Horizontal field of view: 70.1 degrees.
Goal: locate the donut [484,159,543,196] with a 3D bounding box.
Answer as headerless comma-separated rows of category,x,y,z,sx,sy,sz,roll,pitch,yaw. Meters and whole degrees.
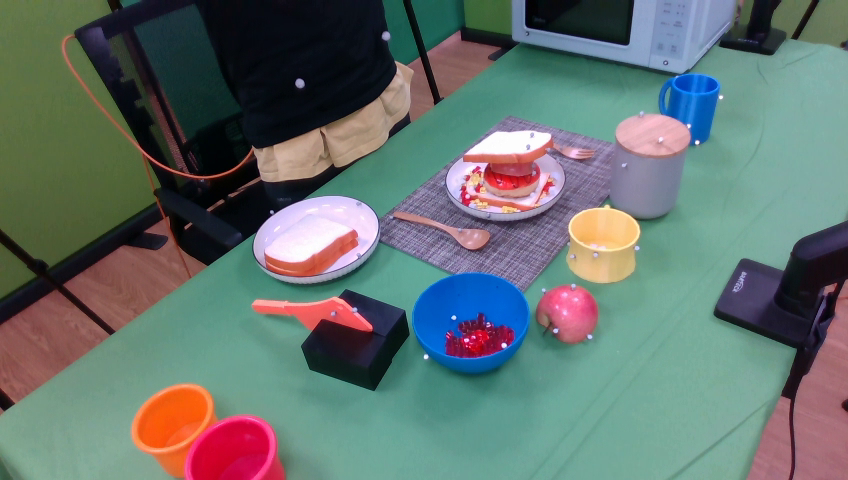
donut,0.150,-0.112,1.018,0.099,0.048,0.098,-5,40,4

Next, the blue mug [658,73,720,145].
blue mug,0.483,-0.250,1.127,0.082,0.106,0.115,-25,44,-19

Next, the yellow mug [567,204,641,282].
yellow mug,0.268,-0.005,0.905,0.099,0.064,0.130,7,42,15

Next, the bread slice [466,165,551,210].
bread slice,0.141,-0.093,1.041,0.133,0.018,0.107,8,42,20

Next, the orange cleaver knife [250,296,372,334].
orange cleaver knife,-0.159,0.103,0.828,0.210,0.078,0.012,-3,43,39

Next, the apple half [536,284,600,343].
apple half,0.196,0.091,0.815,0.075,0.053,0.080,-22,42,-20

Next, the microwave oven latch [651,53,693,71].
microwave oven latch,0.532,-0.386,1.301,0.078,0.029,0.030,27,52,34

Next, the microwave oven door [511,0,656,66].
microwave oven door,0.351,-0.539,1.349,0.353,0.245,0.039,24,50,31

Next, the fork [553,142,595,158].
fork,0.225,-0.186,1.151,0.206,0.019,0.028,20,61,27

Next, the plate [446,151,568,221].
plate,0.143,-0.097,1.045,0.207,0.039,0.206,-4,40,4

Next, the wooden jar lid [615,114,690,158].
wooden jar lid,0.347,-0.155,0.923,0.108,0.021,0.108,-3,44,4

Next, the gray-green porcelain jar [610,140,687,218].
gray-green porcelain jar,0.354,-0.106,0.964,0.106,0.127,0.105,-4,41,4

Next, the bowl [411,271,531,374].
bowl,0.062,0.119,0.780,0.151,0.077,0.150,-4,40,4

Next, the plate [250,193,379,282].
plate,-0.174,-0.001,0.984,0.209,0.038,0.208,-4,40,4

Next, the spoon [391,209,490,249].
spoon,0.023,-0.025,0.989,0.192,0.022,0.041,20,71,28

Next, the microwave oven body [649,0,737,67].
microwave oven body,0.475,-0.602,1.411,0.438,0.261,0.327,23,50,32

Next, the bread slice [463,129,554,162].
bread slice,0.143,-0.154,0.974,0.130,0.019,0.105,9,35,38
